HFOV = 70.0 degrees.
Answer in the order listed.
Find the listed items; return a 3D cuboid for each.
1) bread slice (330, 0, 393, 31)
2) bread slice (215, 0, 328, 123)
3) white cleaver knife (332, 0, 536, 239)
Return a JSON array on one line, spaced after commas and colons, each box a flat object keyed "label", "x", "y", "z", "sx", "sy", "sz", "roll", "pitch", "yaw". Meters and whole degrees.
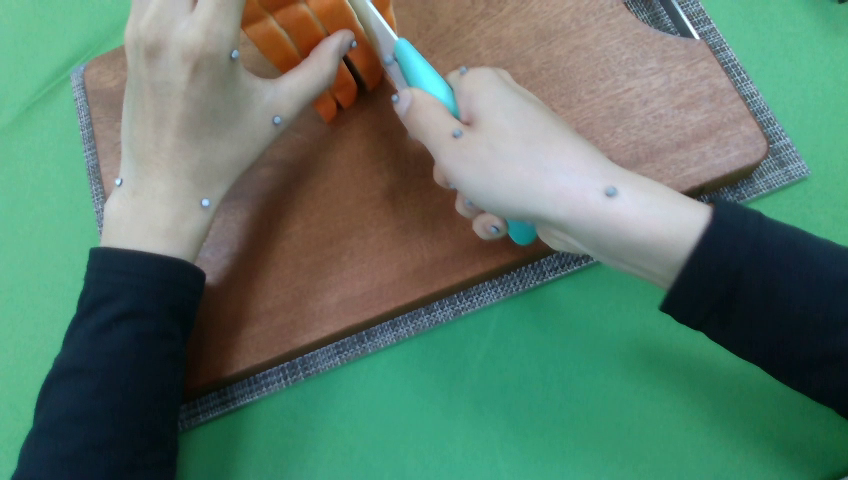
[{"label": "bread slice", "x": -0.050, "y": -0.189, "z": 0.364, "sx": 0.019, "sy": 0.132, "sz": 0.104, "roll": -30, "pitch": 69, "yaw": -15}, {"label": "bread slice", "x": -0.101, "y": -0.146, "z": 0.360, "sx": 0.018, "sy": 0.135, "sz": 0.106, "roll": -26, "pitch": 68, "yaw": 5}, {"label": "white cleaver knife", "x": -0.021, "y": -0.116, "z": 0.367, "sx": 0.021, "sy": 0.066, "sz": 0.284, "roll": -32, "pitch": 74, "yaw": -5}]
